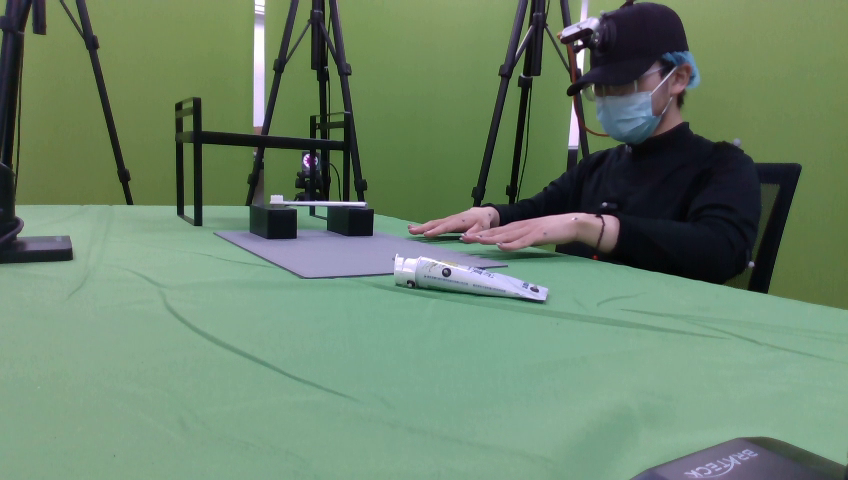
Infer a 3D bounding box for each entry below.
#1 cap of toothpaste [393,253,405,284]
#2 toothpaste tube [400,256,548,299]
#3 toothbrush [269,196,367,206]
[{"bbox_3d":[-0.028,0.032,0.678,0.011,0.037,0.037,1,8,4],"label":"cap of toothpaste"},{"bbox_3d":[0.051,0.044,0.659,0.165,0.034,0.055,8,16,12],"label":"toothpaste tube"},{"bbox_3d":[-0.187,-0.069,1.088,0.183,0.016,0.014,0,-3,-28],"label":"toothbrush"}]
